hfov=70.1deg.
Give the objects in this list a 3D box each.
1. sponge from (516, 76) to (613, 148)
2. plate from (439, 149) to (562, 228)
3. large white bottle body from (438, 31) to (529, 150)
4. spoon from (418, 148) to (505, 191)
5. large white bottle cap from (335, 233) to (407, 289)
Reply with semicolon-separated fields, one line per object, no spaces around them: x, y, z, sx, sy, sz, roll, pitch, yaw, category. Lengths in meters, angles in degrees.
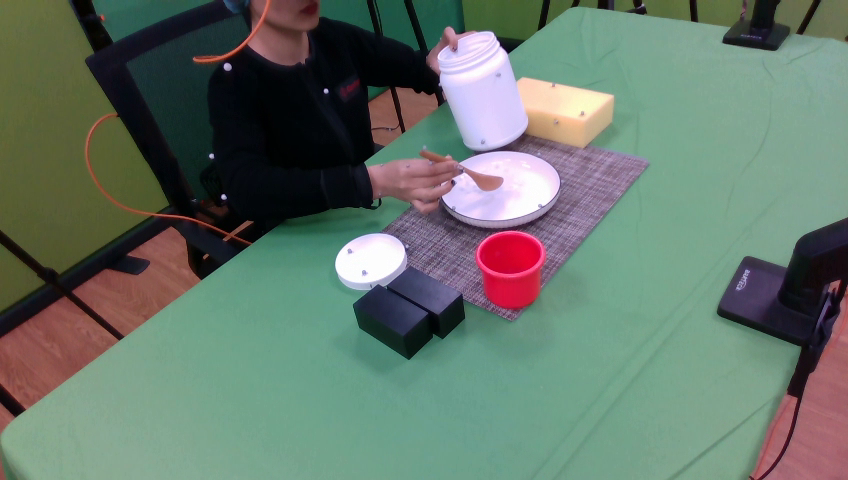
0.254;-0.259;1.207;0.205;0.061;0.118;22;47;31;sponge
0.131;-0.085;1.040;0.209;0.038;0.208;-5;41;5;plate
0.107;-0.276;1.119;0.130;0.186;0.130;-18;32;12;large white bottle body
0.062;-0.115;0.978;0.041;0.195;0.021;-37;49;35;spoon
-0.085;0.032;0.961;0.115;0.018;0.114;-6;41;6;large white bottle cap
